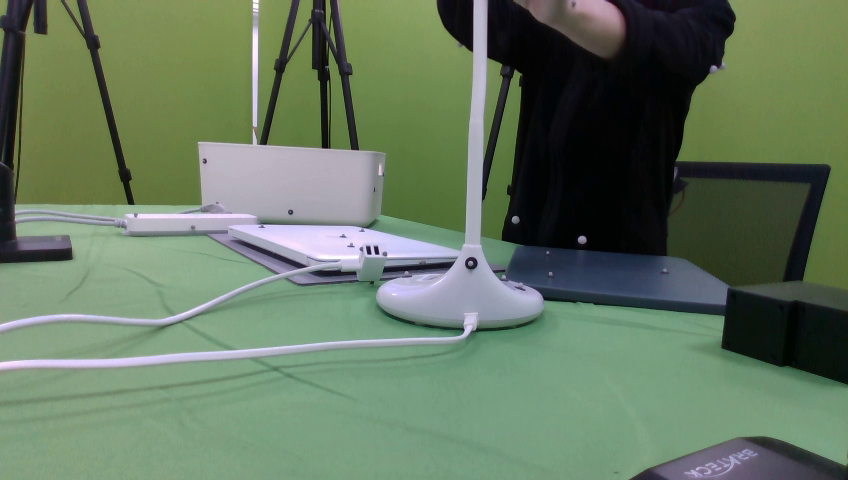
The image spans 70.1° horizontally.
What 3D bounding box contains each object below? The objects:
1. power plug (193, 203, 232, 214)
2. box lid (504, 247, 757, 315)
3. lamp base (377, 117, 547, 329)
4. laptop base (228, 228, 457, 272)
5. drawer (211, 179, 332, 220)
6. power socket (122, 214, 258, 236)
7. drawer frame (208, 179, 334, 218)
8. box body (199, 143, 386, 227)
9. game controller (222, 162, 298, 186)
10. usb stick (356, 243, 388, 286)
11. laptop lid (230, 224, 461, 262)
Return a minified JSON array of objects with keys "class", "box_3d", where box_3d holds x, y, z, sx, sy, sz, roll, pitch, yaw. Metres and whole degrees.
[{"class":"power plug","box_3d":[-0.394,-0.042,1.139,0.072,0.052,0.035,-14,1,31]},{"class":"box lid","box_3d":[0.244,0.044,0.793,0.263,0.015,0.372,4,7,11]},{"class":"lamp base","box_3d":[0.041,-0.019,0.552,0.161,0.180,0.179,1,10,-10]},{"class":"laptop base","box_3d":[-0.122,0.011,0.889,0.237,0.023,0.352,2,6,-35]},{"class":"drawer","box_3d":[-0.328,-0.095,1.332,0.212,0.073,0.194,5,8,6]},{"class":"power socket","box_3d":[-0.398,-0.028,1.049,0.228,0.032,0.072,-3,8,-34]},{"class":"drawer frame","box_3d":[-0.327,-0.093,1.328,0.213,0.082,0.202,0,5,6]},{"class":"box body","box_3d":[-0.276,-0.124,1.335,0.364,0.160,0.254,3,7,1]},{"class":"game controller","box_3d":[-0.357,-0.143,1.321,0.156,0.051,0.097,1,2,-16]},{"class":"usb stick","box_3d":[-0.058,0.029,0.658,0.027,0.059,0.021,-5,52,-18]},{"class":"laptop lid","box_3d":[-0.119,0.000,0.889,0.243,0.013,0.355,1,7,-33]}]
